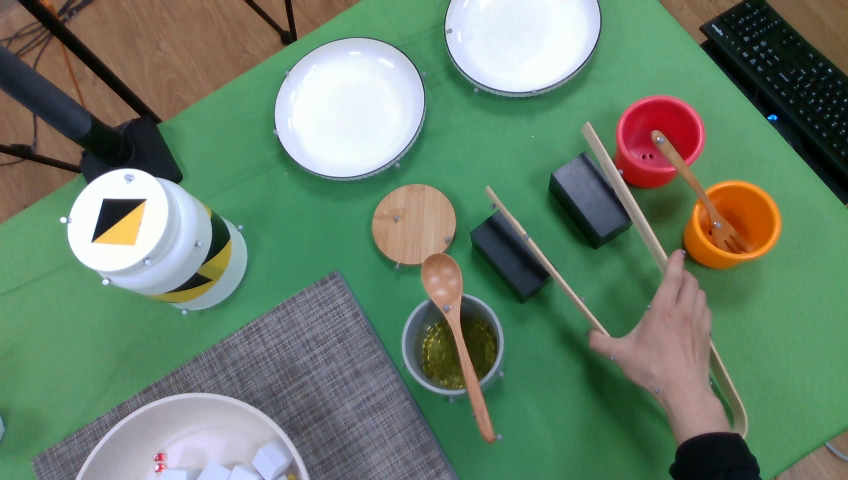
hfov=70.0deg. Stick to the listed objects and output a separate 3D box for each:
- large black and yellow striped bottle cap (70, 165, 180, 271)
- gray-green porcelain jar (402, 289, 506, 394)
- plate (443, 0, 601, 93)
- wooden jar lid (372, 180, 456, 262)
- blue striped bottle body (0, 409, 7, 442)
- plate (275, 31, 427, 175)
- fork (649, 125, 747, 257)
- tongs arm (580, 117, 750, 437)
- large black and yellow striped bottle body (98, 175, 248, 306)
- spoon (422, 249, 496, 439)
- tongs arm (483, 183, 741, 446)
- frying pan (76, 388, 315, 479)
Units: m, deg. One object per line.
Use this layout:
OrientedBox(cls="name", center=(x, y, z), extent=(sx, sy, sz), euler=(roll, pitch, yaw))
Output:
OrientedBox(cls="large black and yellow striped bottle cap", center=(-0.317, -0.024, 0.642), extent=(0.115, 0.019, 0.114), euler=(-2, 76, 7))
OrientedBox(cls="gray-green porcelain jar", center=(0.038, 0.117, 0.672), extent=(0.106, 0.127, 0.105), euler=(-2, 74, 7))
OrientedBox(cls="plate", center=(0.130, -0.289, 0.816), extent=(0.209, 0.038, 0.208), euler=(-2, 75, 8))
OrientedBox(cls="wooden jar lid", center=(-0.012, -0.023, 0.773), extent=(0.108, 0.021, 0.108), euler=(-2, 76, 7))
OrientedBox(cls="blue striped bottle body", center=(-0.577, 0.229, 0.729), extent=(0.063, 0.121, 0.062), euler=(-2, 74, 8))
OrientedBox(cls="plate", center=(-0.097, -0.182, 0.819), extent=(0.207, 0.039, 0.206), euler=(-2, 75, 8))
OrientedBox(cls="fork", center=(0.304, -0.052, 0.669), extent=(0.028, 0.018, 0.209), euler=(-45, 118, 2))
OrientedBox(cls="tongs arm", center=(0.266, 0.035, 0.677), extent=(0.028, 0.028, 0.386), euler=(-25, 84, -9))
OrientedBox(cls="large black and yellow striped bottle body", center=(-0.306, 0.001, 0.722), extent=(0.130, 0.185, 0.130), euler=(-2, 74, 8))
OrientedBox(cls="spoon", center=(0.038, 0.102, 0.603), extent=(0.041, 0.022, 0.192), euler=(-16, 77, 0))
OrientedBox(cls="tongs arm", center=(0.203, 0.076, 0.671), extent=(0.051, 0.026, 0.384), euler=(-37, 85, -7))
OrientedBox(cls="frying pan", center=(-0.269, 0.411, 0.642), extent=(0.306, 0.103, 0.484), euler=(7, 68, 11))
